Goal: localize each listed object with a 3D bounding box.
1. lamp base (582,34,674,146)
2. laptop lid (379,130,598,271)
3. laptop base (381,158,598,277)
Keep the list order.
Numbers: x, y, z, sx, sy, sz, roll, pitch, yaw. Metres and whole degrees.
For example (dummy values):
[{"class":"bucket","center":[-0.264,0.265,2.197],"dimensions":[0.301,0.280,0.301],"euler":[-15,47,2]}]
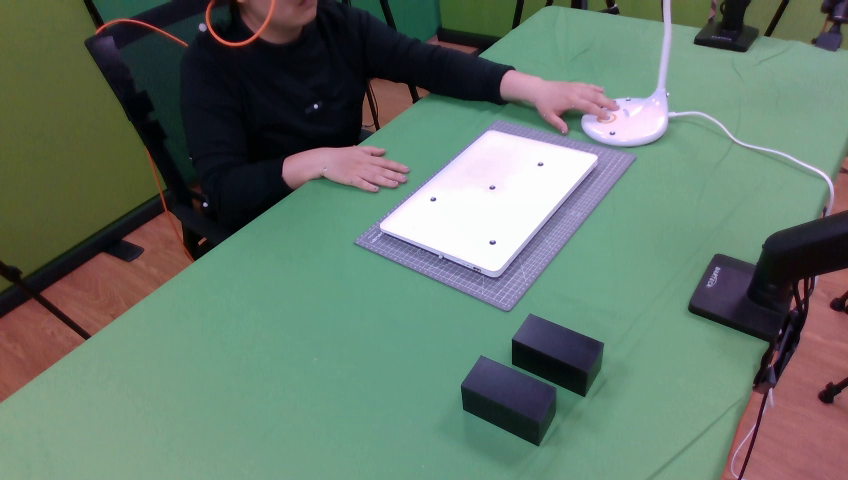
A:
[{"class":"lamp base","center":[0.393,-0.291,1.129],"dimensions":[0.180,0.181,0.159],"euler":[-11,41,-8]},{"class":"laptop lid","center":[0.117,-0.087,1.037],"dimensions":[0.240,0.013,0.358],"euler":[22,48,33]},{"class":"laptop base","center":[0.120,-0.077,1.043],"dimensions":[0.233,0.023,0.355],"euler":[20,47,32]}]
